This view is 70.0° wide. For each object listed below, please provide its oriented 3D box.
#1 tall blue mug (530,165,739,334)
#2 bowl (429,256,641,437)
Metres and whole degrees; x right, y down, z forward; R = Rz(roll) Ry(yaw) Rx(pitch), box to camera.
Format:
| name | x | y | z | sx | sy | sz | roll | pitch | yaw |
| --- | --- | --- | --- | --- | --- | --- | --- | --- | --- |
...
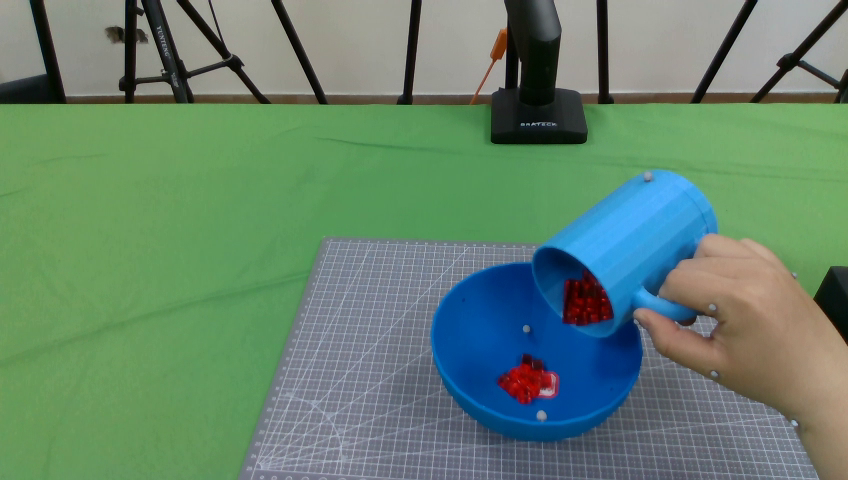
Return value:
| name | x | y | z | sx | sy | sz | roll | pitch | yaw |
| --- | --- | --- | --- | --- | --- | --- | --- | --- | --- |
| tall blue mug | 0.147 | 0.005 | 0.417 | 0.108 | 0.078 | 0.107 | -34 | 11 | -22 |
| bowl | 0.080 | 0.091 | 0.459 | 0.151 | 0.077 | 0.150 | -2 | 42 | 2 |
